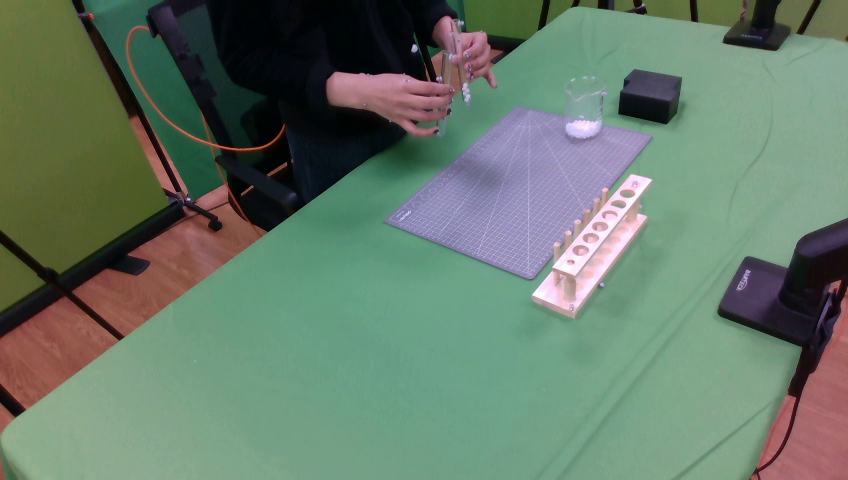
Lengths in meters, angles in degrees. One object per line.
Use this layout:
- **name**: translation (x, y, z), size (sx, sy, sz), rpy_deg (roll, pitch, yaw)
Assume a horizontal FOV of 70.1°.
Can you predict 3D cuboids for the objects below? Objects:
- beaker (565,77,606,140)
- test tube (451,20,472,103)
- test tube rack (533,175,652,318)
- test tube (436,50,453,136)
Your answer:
- **beaker**: translation (0.304, -0.247, 1.153), size (0.073, 0.101, 0.084), rpy_deg (15, 47, 27)
- **test tube**: translation (0.065, -0.304, 1.041), size (0.017, 0.151, 0.017), rpy_deg (-8, 42, 7)
- **test tube rack**: translation (0.250, -0.001, 0.889), size (0.066, 0.085, 0.243), rpy_deg (22, 49, 33)
- **test tube**: translation (0.033, -0.238, 0.993), size (0.017, 0.151, 0.017), rpy_deg (4, 39, -2)
